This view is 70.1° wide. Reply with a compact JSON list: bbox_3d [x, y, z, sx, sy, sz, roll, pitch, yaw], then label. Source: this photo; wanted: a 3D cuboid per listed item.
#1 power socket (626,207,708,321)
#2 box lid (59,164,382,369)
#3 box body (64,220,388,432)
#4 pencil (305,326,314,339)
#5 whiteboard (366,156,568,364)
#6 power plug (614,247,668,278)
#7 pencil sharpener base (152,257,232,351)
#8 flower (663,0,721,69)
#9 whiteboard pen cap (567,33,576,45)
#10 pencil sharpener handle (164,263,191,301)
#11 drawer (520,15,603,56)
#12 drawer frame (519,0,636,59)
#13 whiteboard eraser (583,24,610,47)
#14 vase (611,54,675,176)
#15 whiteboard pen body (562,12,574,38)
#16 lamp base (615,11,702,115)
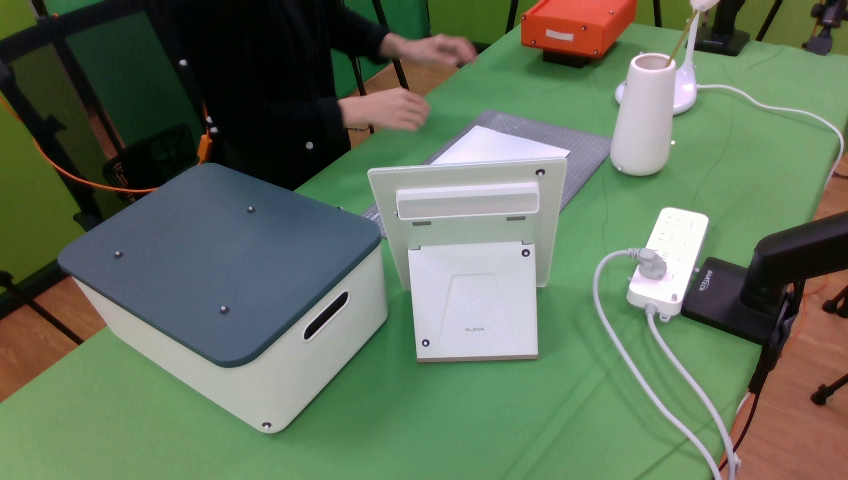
[{"bbox_3d":[0.359,0.025,0.886,0.072,0.033,0.227,16,46,26],"label":"power socket"},{"bbox_3d":[-0.263,0.010,0.777,0.368,0.015,0.264,20,47,29],"label":"box lid"},{"bbox_3d":[-0.256,0.065,0.827,0.361,0.161,0.255,20,48,29],"label":"box body"},{"bbox_3d":[-0.187,0.106,0.879,0.012,0.012,0.192,-27,42,-22],"label":"pencil"},{"bbox_3d":[0.059,0.050,0.738,0.217,0.307,0.143,-2,60,6],"label":"whiteboard"},{"bbox_3d":[0.306,0.031,0.851,0.072,0.053,0.035,24,49,33],"label":"power plug"},{"bbox_3d":[-0.322,0.088,0.841,0.061,0.107,0.076,-28,44,-20],"label":"pencil sharpener base"},{"bbox_3d":[0.379,-0.261,0.965,0.044,0.362,0.038,20,52,5],"label":"flower"},{"bbox_3d":[0.339,-0.463,1.390,0.018,0.018,0.033,-2,44,6],"label":"whiteboard pen cap"},{"bbox_3d":[-0.354,0.055,0.866,0.036,0.068,0.030,-17,39,-29],"label":"pencil sharpener handle"},{"bbox_3d":[0.359,-0.517,1.416,0.193,0.073,0.212,20,47,29],"label":"drawer"},{"bbox_3d":[0.362,-0.518,1.423,0.200,0.083,0.214,19,48,29],"label":"drawer frame"},{"bbox_3d":[0.407,-0.479,1.422,0.055,0.042,0.113,-3,9,21],"label":"whiteboard eraser"},{"bbox_3d":[0.377,-0.209,1.031,0.098,0.201,0.097,-4,40,3],"label":"vase"},{"bbox_3d":[0.342,-0.507,1.429,0.017,0.017,0.140,-2,41,6],"label":"whiteboard pen body"},{"bbox_3d":[0.484,-0.364,1.211,0.180,0.181,0.159,-15,41,-14],"label":"lamp base"}]
